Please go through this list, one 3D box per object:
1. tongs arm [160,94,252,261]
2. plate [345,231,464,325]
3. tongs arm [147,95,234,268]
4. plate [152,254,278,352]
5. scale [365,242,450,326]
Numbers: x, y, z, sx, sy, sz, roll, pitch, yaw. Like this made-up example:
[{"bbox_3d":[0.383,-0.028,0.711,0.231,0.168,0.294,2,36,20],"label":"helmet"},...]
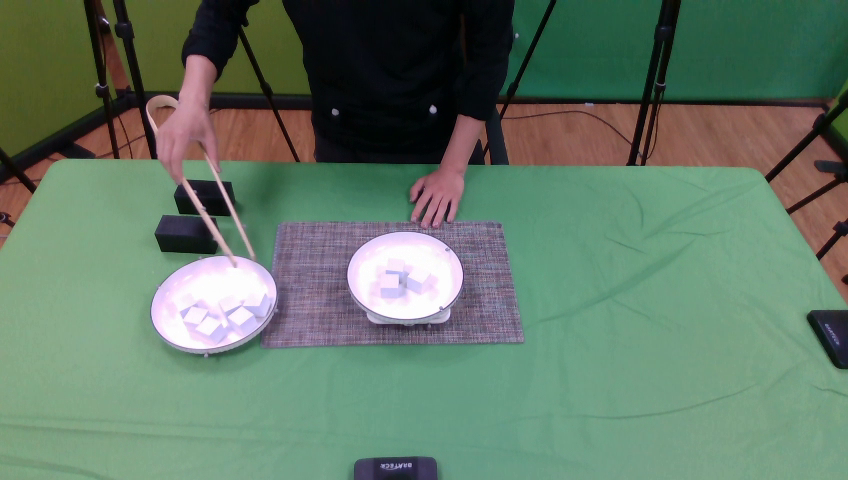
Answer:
[{"bbox_3d":[-0.390,-0.120,1.083,0.028,0.028,0.385,-26,68,-18],"label":"tongs arm"},{"bbox_3d":[-0.034,0.069,1.069,0.209,0.038,0.208,2,46,-2],"label":"plate"},{"bbox_3d":[-0.409,-0.112,1.075,0.051,0.026,0.383,-29,70,-23],"label":"tongs arm"},{"bbox_3d":[-0.357,0.111,1.052,0.208,0.039,0.206,2,46,-2],"label":"plate"},{"bbox_3d":[-0.032,0.071,1.113,0.149,0.032,0.199,0,46,-4],"label":"scale"}]
